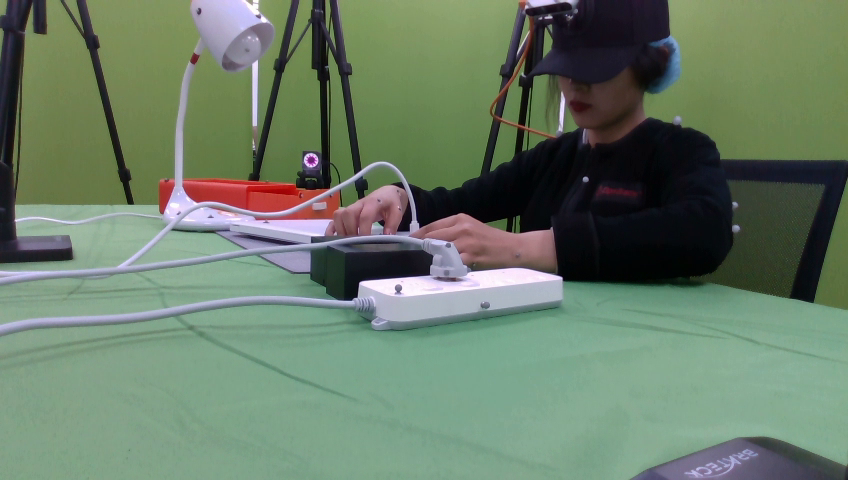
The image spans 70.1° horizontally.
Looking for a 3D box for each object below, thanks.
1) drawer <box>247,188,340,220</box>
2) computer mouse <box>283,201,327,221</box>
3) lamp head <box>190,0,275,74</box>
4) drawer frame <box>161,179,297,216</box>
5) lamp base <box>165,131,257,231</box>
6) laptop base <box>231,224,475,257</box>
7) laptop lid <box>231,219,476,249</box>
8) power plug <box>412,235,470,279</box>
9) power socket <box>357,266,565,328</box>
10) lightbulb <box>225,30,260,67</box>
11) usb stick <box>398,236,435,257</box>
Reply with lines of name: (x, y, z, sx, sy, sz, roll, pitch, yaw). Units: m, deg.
drawer: (-0.314, -0.078, 1.301, 0.211, 0.073, 0.195, 4, 8, 15)
computer mouse: (-0.254, -0.062, 1.293, 0.063, 0.041, 0.117, 1, 2, 10)
lamp head: (-0.331, -0.355, 1.008, 0.123, 0.112, 0.112, 43, 15, 6)
drawer frame: (-0.421, -0.089, 1.330, 0.213, 0.082, 0.202, 4, 8, 16)
lamp base: (-0.407, -0.112, 1.119, 0.179, 0.180, 0.161, -1, 7, 7)
laptop base: (-0.121, -0.004, 1.000, 0.352, 0.023, 0.237, 8, 6, 38)
laptop lid: (-0.119, -0.015, 1.000, 0.355, 0.013, 0.243, 9, 7, 39)
power plug: (0.017, 0.023, 0.588, 0.035, 0.052, 0.072, -1, 8, -24)
power socket: (0.041, 0.049, 0.573, 0.228, 0.032, 0.072, -3, 8, -35)
lightbulb: (-0.319, -0.334, 1.000, 0.107, 0.059, 0.059, 45, 14, 4)
usb stick: (-0.013, 0.009, 0.818, 0.059, 0.027, 0.021, -5, 6, 37)
